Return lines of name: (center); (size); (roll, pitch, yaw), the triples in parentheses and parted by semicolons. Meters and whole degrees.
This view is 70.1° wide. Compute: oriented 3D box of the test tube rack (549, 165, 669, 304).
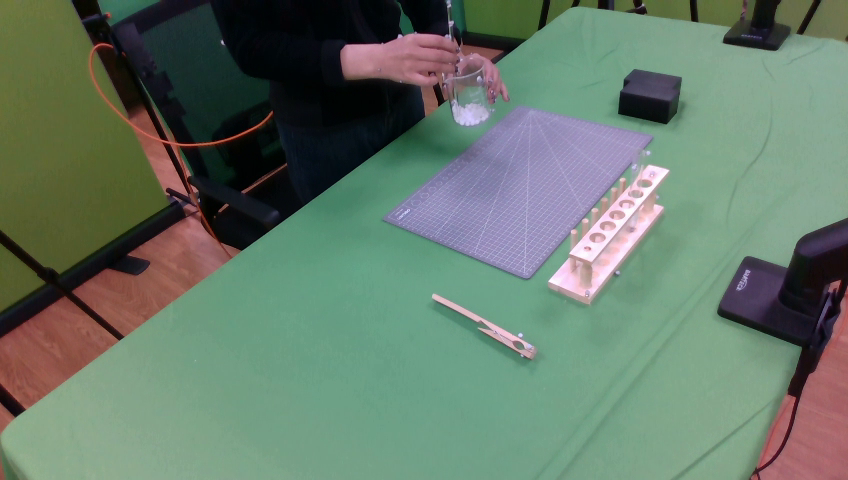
test tube rack: (0.279, -0.018, 0.902); (0.066, 0.085, 0.243); (24, 50, 33)

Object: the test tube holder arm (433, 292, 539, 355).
test tube holder arm: (0.081, 0.113, 0.832); (0.177, 0.015, 0.013); (28, 82, 36)

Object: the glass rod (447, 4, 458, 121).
glass rod: (0.049, -0.293, 1.016); (0.008, 0.200, 0.008); (-4, 36, 4)

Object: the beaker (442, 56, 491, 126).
beaker: (0.074, -0.256, 1.057); (0.084, 0.101, 0.073); (-32, 41, -19)

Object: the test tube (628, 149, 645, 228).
test tube: (0.309, -0.071, 0.882); (0.017, 0.151, 0.017); (-7, 47, 8)

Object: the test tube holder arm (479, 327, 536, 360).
test tube holder arm: (0.110, 0.134, 0.805); (0.087, 0.015, 0.010); (29, 82, 36)
